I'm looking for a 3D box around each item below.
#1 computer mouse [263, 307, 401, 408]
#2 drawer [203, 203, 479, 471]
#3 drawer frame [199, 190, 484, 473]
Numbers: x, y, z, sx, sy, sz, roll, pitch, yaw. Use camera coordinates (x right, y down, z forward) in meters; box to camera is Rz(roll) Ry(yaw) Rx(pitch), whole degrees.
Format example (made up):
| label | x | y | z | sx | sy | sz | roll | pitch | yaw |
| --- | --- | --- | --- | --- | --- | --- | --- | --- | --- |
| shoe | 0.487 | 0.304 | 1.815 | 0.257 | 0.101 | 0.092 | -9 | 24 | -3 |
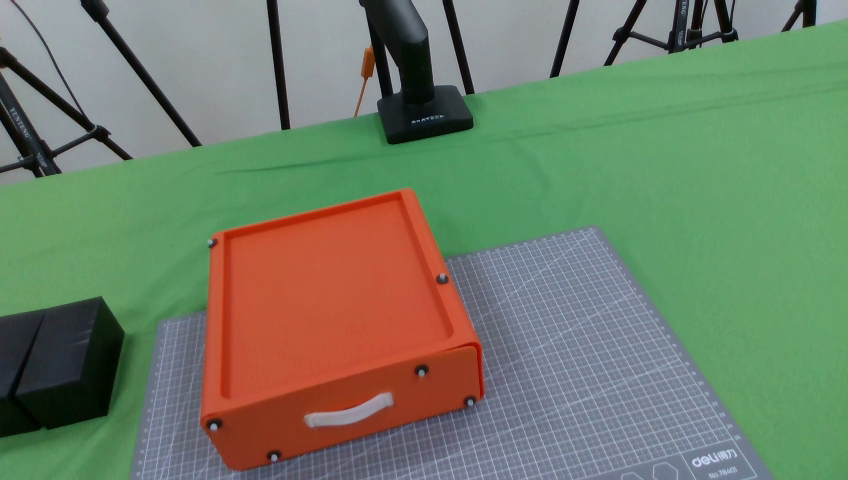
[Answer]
| label | x | y | z | sx | sy | sz | roll | pitch | yaw |
| --- | --- | --- | --- | --- | --- | --- | --- | --- | --- |
| computer mouse | -0.078 | 0.095 | 0.503 | 0.117 | 0.041 | 0.062 | -17 | 43 | -1 |
| drawer | -0.076 | 0.067 | 0.516 | 0.195 | 0.074 | 0.209 | -14 | 39 | -6 |
| drawer frame | -0.076 | 0.065 | 0.517 | 0.202 | 0.083 | 0.211 | -15 | 39 | -7 |
